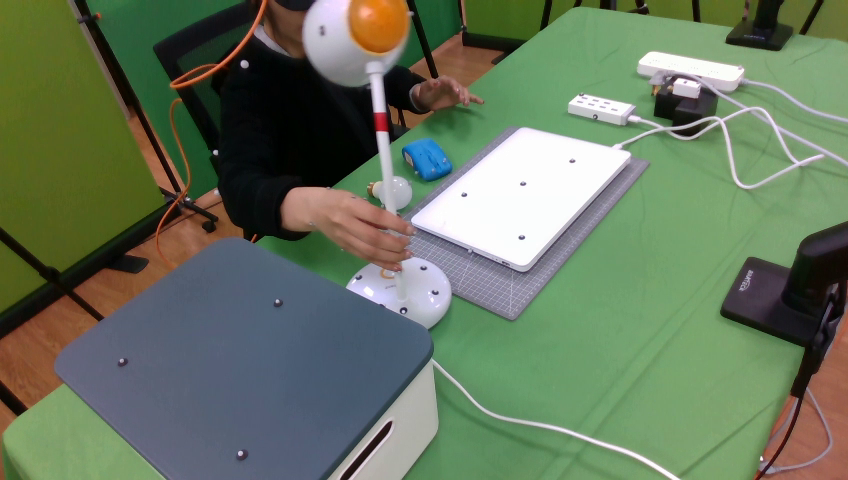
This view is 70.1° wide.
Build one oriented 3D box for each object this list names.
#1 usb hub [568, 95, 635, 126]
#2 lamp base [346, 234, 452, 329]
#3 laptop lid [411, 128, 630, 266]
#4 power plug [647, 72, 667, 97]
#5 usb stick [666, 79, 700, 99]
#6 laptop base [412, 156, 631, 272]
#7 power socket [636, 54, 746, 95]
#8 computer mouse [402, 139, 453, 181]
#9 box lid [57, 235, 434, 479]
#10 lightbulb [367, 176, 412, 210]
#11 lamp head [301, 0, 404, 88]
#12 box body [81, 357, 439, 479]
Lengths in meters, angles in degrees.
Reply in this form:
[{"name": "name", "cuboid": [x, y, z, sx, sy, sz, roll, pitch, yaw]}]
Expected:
[{"name": "usb hub", "cuboid": [0.360, -0.264, 1.228, 0.124, 0.025, 0.049, 24, 49, 33]}, {"name": "lamp base", "cuboid": [-0.040, 0.030, 0.825, 0.161, 0.181, 0.177, -16, 45, -12]}, {"name": "laptop lid", "cuboid": [0.172, -0.093, 1.049, 0.239, 0.013, 0.358, 24, 50, 36]}, {"name": "power plug", "cuboid": [0.493, -0.321, 1.260, 0.073, 0.052, 0.035, 1, 20, -41]}, {"name": "usb stick", "cuboid": [0.492, -0.288, 1.152, 0.058, 0.027, 0.021, 20, 50, 34]}, {"name": "laptop base", "cuboid": [0.176, -0.084, 1.055, 0.233, 0.023, 0.355, 21, 48, 36]}, {"name": "power socket", "cuboid": [0.564, -0.357, 1.293, 0.225, 0.033, 0.072, 24, 51, 33]}, {"name": "computer mouse", "cuboid": [0.005, -0.158, 1.165, 0.063, 0.041, 0.116, -21, 44, -17]}, {"name": "box lid", "cuboid": [-0.198, 0.123, 0.653, 0.368, 0.015, 0.264, 22, 49, 32]}, {"name": "lightbulb", "cuboid": [-0.066, -0.086, 1.084, 0.060, 0.060, 0.107, -38, 32, -30]}, {"name": "lamp head", "cuboid": [-0.071, -0.227, 0.671, 0.113, 0.113, 0.122, -24, 20, -17]}, {"name": "box body", "cuboid": [-0.189, 0.179, 0.702, 0.361, 0.161, 0.255, 22, 49, 32]}]
